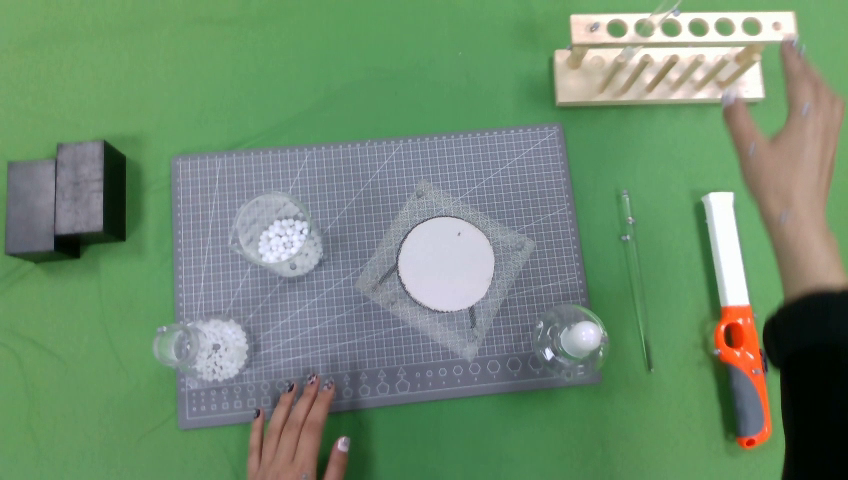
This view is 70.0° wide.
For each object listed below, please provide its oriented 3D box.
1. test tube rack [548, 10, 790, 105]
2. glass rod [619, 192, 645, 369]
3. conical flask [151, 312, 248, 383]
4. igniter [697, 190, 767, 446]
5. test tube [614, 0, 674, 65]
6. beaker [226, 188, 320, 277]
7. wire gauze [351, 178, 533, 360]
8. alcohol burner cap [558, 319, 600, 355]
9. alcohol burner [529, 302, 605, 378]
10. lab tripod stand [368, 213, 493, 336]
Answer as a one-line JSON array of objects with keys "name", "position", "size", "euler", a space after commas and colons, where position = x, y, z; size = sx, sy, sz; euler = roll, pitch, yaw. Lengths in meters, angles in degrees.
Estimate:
[{"name": "test tube rack", "position": [0.272, -0.204, 0.687], "size": [0.242, 0.085, 0.066], "euler": [-2, 78, -2]}, {"name": "glass rod", "position": [0.232, 0.043, 0.676], "size": [0.008, 0.008, 0.199], "euler": [-4, 82, -3]}, {"name": "conical flask", "position": [-0.223, 0.103, 0.591], "size": [0.075, 0.122, 0.075], "euler": [0, 78, -1]}, {"name": "igniter", "position": [0.335, 0.080, 0.662], "size": [0.057, 0.025, 0.275], "euler": [-1, 79, -13]}, {"name": "test tube", "position": [0.234, -0.227, 0.640], "size": [0.017, 0.150, 0.017], "euler": [1, 77, -5]}, {"name": "beaker", "position": [-0.151, -0.002, 0.625], "size": [0.084, 0.100, 0.073], "euler": [-22, 79, -5]}, {"name": "wire gauze", "position": [0.017, 0.023, 0.539], "size": [0.125, 0.011, 0.121], "euler": [31, 81, 5]}, {"name": "alcohol burner cap", "position": [0.148, 0.089, 0.571], "size": [0.034, 0.048, 0.033], "euler": [1, 72, -3]}, {"name": "alcohol burner", "position": [0.147, 0.098, 0.606], "size": [0.078, 0.119, 0.077], "euler": [0, 78, 1]}, {"name": "lab tripod stand", "position": [0.013, 0.034, 0.605], "size": [0.148, 0.132, 0.148], "euler": [0, 80, 0]}]
